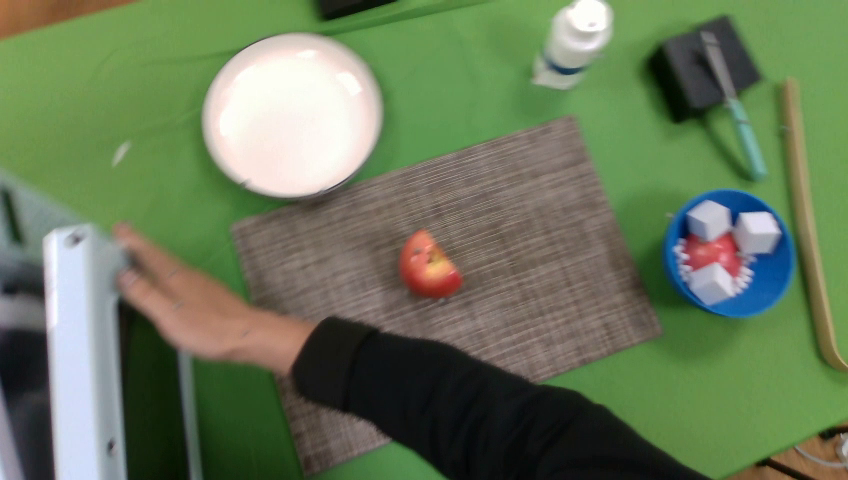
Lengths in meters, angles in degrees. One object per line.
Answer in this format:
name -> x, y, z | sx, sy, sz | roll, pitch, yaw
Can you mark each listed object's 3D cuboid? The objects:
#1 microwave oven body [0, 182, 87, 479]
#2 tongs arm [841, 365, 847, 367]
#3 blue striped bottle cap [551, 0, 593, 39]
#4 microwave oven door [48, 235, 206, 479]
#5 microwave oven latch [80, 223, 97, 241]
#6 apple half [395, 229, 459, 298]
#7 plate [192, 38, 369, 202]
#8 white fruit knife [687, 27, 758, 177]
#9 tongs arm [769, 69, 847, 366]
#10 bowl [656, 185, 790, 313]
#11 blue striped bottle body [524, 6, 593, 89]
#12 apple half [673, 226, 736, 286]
microwave oven body -> -0.435, 0.215, 0.525 | 0.326, 0.261, 0.440 | -21, 81, -9
tongs arm -> 0.564, -0.028, 0.773 | 0.051, 0.026, 0.383 | 10, 79, -2
blue striped bottle cap -> 0.169, -0.253, 0.692 | 0.044, 0.020, 0.044 | 0, 84, -1
microwave oven door -> -0.250, 0.191, 0.541 | 0.039, 0.244, 0.354 | -10, 79, -6
microwave oven latch -> -0.372, 0.023, 0.669 | 0.030, 0.029, 0.079 | -21, 81, -9
apple half -> -0.004, 0.035, 0.693 | 0.053, 0.075, 0.080 | -40, 87, -6
plate -> -0.171, -0.143, 0.739 | 0.208, 0.039, 0.206 | 1, 78, -5
white fruit knife -> 0.373, -0.172, 0.762 | 0.016, 0.027, 0.208 | -27, 98, 8
tongs arm -> 0.483, -0.035, 0.771 | 0.028, 0.028, 0.385 | -2, 79, -8
bowl -> 0.341, 0.017, 0.725 | 0.151, 0.077, 0.150 | 1, 78, -4
blue striped bottle body -> 0.165, -0.240, 0.742 | 0.063, 0.121, 0.063 | 1, 77, -4
apple half -> 0.342, 0.016, 0.721 | 0.081, 0.033, 0.081 | 1, 78, -2
